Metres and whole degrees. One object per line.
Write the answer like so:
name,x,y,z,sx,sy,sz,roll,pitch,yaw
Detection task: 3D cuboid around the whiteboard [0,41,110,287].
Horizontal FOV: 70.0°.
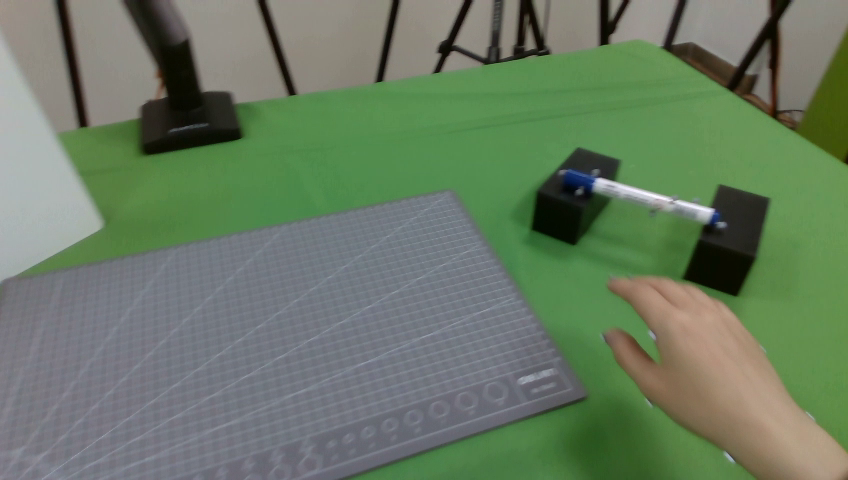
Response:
whiteboard,-0.483,-0.094,0.540,0.143,0.308,0.217,9,38,41

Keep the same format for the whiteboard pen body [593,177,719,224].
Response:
whiteboard pen body,0.207,-0.042,0.578,0.140,0.017,0.017,19,44,22

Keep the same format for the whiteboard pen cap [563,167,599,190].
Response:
whiteboard pen cap,0.156,-0.061,0.599,0.033,0.018,0.018,20,44,22
